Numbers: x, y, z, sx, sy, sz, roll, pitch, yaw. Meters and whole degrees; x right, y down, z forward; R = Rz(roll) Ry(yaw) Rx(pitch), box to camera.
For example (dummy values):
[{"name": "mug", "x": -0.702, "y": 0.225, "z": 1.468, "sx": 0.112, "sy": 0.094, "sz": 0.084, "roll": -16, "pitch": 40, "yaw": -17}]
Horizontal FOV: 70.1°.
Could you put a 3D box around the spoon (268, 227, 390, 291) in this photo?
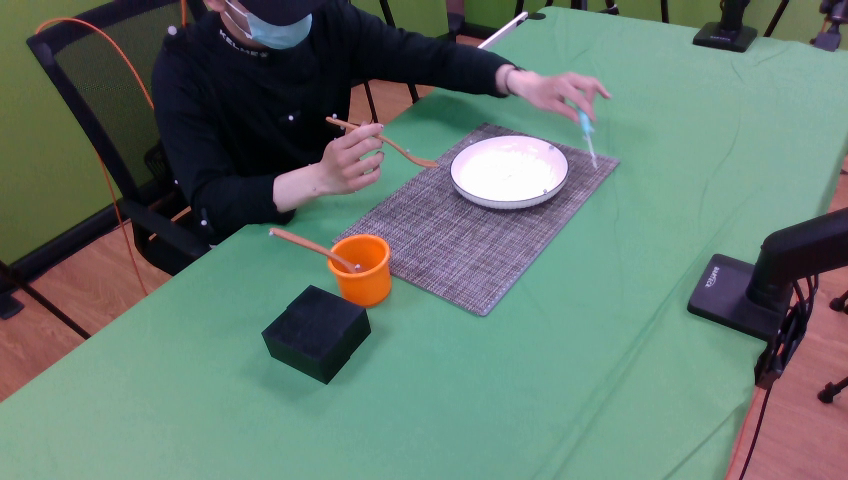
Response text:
[{"name": "spoon", "x": -0.132, "y": 0.025, "z": 0.862, "sx": 0.021, "sy": 0.195, "sz": 0.041, "roll": -40, "pitch": 31, "yaw": 32}]

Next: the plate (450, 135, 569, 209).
[{"name": "plate", "x": 0.149, "y": -0.117, "z": 1.066, "sx": 0.209, "sy": 0.038, "sz": 0.208, "roll": -3, "pitch": 41, "yaw": 3}]

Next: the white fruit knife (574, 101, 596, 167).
[{"name": "white fruit knife", "x": 0.270, "y": -0.181, "z": 1.008, "sx": 0.016, "sy": 0.027, "sz": 0.206, "roll": -14, "pitch": 37, "yaw": 15}]

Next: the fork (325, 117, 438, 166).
[{"name": "fork", "x": -0.063, "y": -0.154, "z": 0.959, "sx": 0.209, "sy": 0.018, "sz": 0.028, "roll": 22, "pitch": 20, "yaw": -33}]
